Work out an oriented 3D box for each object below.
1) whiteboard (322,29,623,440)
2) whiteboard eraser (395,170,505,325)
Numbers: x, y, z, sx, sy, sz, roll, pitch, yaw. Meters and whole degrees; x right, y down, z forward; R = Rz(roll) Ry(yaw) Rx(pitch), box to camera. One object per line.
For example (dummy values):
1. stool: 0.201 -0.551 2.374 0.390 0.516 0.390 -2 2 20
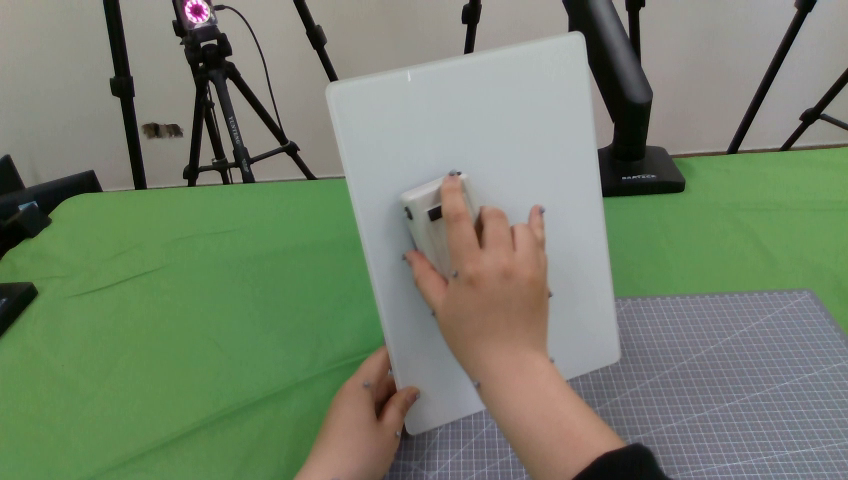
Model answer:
1. whiteboard: 0.038 -0.014 0.568 0.217 0.307 0.143 -16 17 -13
2. whiteboard eraser: 0.021 0.006 0.476 0.055 0.113 0.041 -22 16 -10
